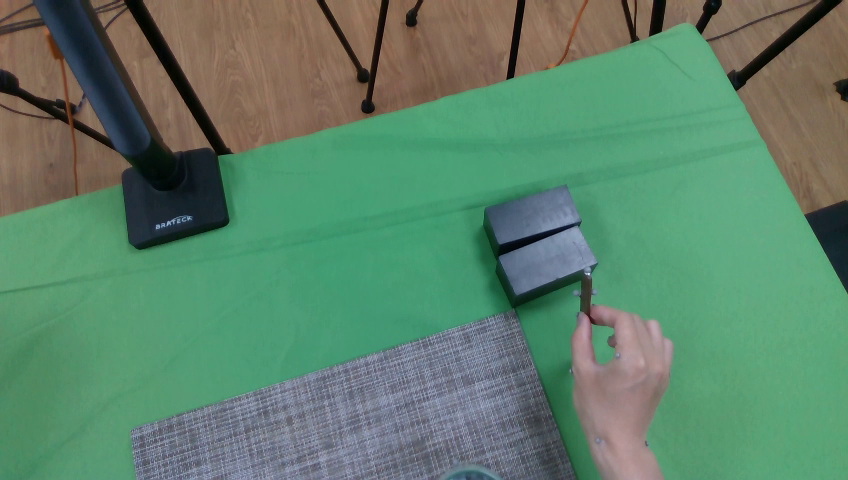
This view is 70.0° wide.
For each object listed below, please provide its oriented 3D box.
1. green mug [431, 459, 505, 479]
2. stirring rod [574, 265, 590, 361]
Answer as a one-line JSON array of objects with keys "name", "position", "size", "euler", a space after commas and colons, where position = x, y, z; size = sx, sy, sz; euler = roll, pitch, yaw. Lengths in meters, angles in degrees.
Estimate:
[{"name": "green mug", "position": [0.053, 0.271, 0.575], "size": [0.092, 0.105, 0.124], "euler": [-33, 71, -10]}, {"name": "stirring rod", "position": [0.158, 0.078, 0.606], "size": [0.006, 0.178, 0.014], "euler": [-21, 53, -4]}]
